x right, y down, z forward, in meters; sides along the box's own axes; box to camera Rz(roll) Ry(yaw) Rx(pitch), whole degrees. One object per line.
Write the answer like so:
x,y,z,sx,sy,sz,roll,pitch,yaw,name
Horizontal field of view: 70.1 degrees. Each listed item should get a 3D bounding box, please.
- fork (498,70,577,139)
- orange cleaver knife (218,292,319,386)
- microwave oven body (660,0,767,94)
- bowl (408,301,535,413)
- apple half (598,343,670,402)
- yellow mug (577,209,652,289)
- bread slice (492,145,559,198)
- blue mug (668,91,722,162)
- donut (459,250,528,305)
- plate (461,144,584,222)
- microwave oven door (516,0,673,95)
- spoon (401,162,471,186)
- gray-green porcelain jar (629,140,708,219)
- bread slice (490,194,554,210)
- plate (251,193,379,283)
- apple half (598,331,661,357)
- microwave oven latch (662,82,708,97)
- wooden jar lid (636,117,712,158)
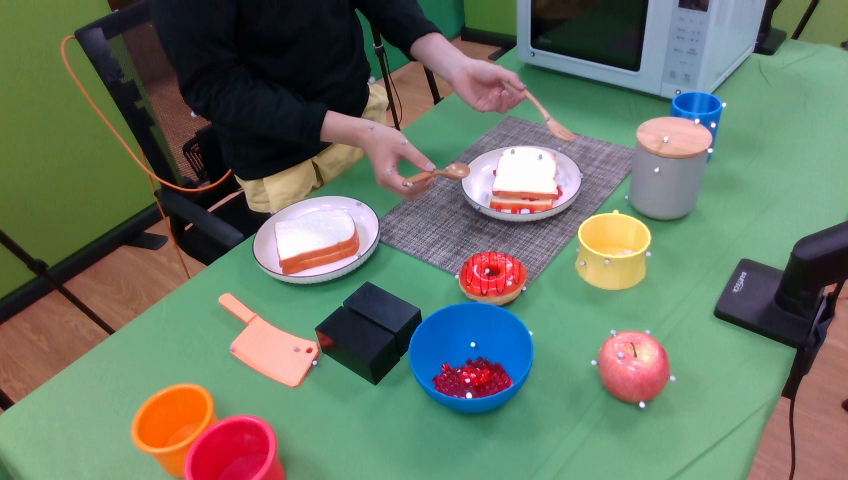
0.197,-0.242,1.075,0.028,0.018,0.206,-23,62,-27,fork
-0.235,0.136,0.850,0.209,0.012,0.077,25,56,30,orange cleaver knife
0.473,-0.516,1.313,0.438,0.261,0.327,26,51,34,microwave oven body
0.059,0.156,0.739,0.151,0.077,0.150,-4,40,4,bowl
0.247,0.161,0.710,0.081,0.075,0.053,2,47,5,apple half
0.279,0.005,0.893,0.099,0.064,0.130,5,41,15,yellow mug
0.172,-0.118,1.027,0.107,0.018,0.134,3,42,6,bread slice
0.474,-0.207,1.078,0.082,0.106,0.116,4,42,13,blue mug
0.100,0.053,0.873,0.099,0.048,0.098,-5,40,4,donut
0.167,-0.095,1.040,0.207,0.039,0.206,-4,40,4,plate
0.344,-0.458,1.256,0.353,0.245,0.039,26,51,33,microwave oven door
0.018,-0.101,0.910,0.041,0.021,0.195,25,21,24,spoon
0.383,-0.104,0.958,0.106,0.127,0.105,-4,41,4,gray-green porcelain jar
0.173,-0.099,1.047,0.104,0.019,0.131,3,42,11,bread slice
-0.174,-0.001,0.985,0.209,0.038,0.208,-4,41,4,plate
0.249,0.134,0.738,0.081,0.081,0.032,-1,46,7,apple half
0.518,-0.298,1.203,0.078,0.029,0.030,28,53,35,microwave oven latch
0.377,-0.151,0.917,0.108,0.021,0.108,-2,42,3,wooden jar lid
